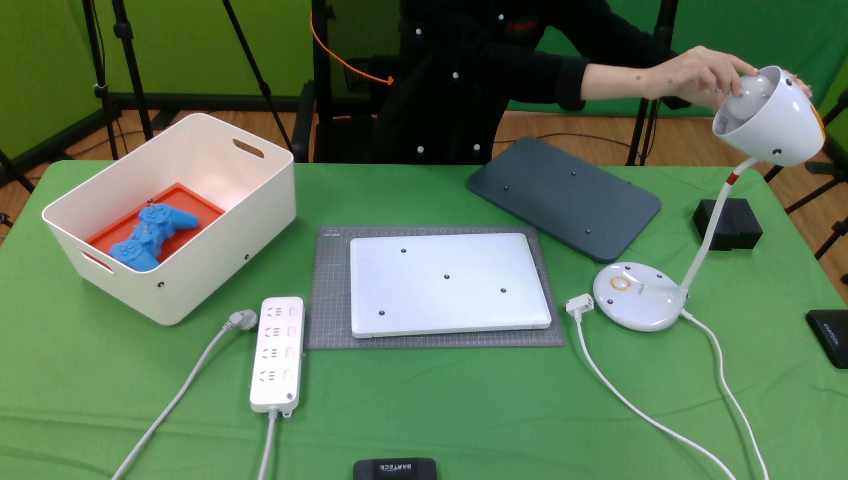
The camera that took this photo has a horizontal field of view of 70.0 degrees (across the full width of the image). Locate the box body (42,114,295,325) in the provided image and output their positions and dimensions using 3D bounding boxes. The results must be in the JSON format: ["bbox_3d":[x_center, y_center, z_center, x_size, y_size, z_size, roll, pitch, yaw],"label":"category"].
[{"bbox_3d":[-0.437,-0.046,1.110,0.253,0.161,0.363,24,49,19],"label":"box body"}]

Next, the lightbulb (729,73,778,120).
[{"bbox_3d":[0.452,-0.171,0.803,0.107,0.059,0.059,50,55,-3],"label":"lightbulb"}]

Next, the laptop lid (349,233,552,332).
[{"bbox_3d":[0.040,0.071,1.119,0.357,0.013,0.240,-1,44,-6],"label":"laptop lid"}]

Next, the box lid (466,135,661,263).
[{"bbox_3d":[0.306,-0.102,1.327,0.370,0.015,0.263,32,52,25],"label":"box lid"}]

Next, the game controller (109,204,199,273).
[{"bbox_3d":[-0.467,-0.005,1.044,0.097,0.052,0.154,8,45,10],"label":"game controller"}]

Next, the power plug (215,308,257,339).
[{"bbox_3d":[-0.316,0.143,1.024,0.072,0.053,0.035,-33,57,-8],"label":"power plug"}]

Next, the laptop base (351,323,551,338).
[{"bbox_3d":[0.040,0.080,1.126,0.355,0.023,0.234,-2,43,-6],"label":"laptop base"}]

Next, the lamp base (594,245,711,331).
[{"bbox_3d":[0.413,0.052,1.069,0.179,0.181,0.160,18,48,9],"label":"lamp base"}]

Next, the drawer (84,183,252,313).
[{"bbox_3d":[-0.457,0.008,1.099,0.194,0.073,0.211,29,49,21],"label":"drawer"}]

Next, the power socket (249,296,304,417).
[{"bbox_3d":[-0.239,0.182,0.996,0.072,0.033,0.225,-2,47,-5],"label":"power socket"}]

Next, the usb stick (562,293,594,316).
[{"bbox_3d":[0.275,0.118,1.087,0.021,0.059,0.027,39,44,-27],"label":"usb stick"}]

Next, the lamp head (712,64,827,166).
[{"bbox_3d":[0.468,-0.152,0.810,0.123,0.112,0.112,37,47,-13],"label":"lamp head"}]

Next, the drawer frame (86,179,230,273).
[{"bbox_3d":[-0.453,0.010,1.100,0.201,0.083,0.213,28,54,23],"label":"drawer frame"}]
